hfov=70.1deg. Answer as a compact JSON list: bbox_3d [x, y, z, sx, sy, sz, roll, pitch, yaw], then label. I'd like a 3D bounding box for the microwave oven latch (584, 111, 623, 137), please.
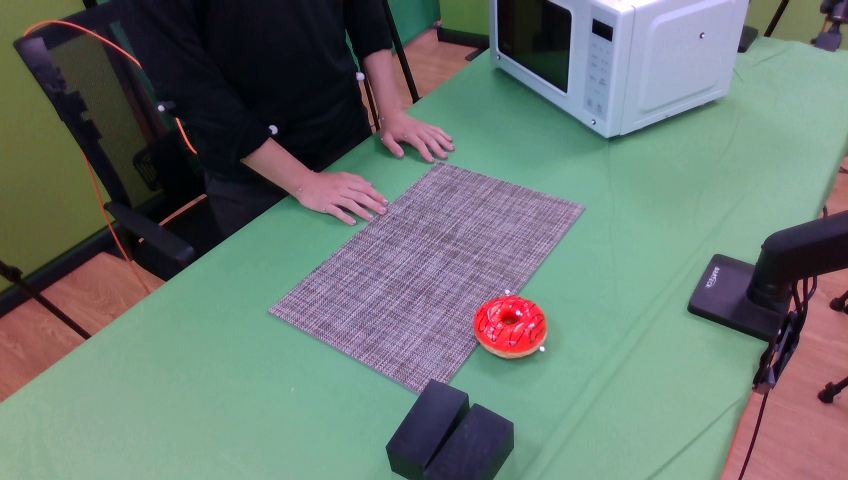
[{"bbox_3d":[0.337,-0.222,1.142,0.030,0.029,0.078,-21,42,-14],"label":"microwave oven latch"}]

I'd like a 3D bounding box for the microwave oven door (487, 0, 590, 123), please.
[{"bbox_3d":[0.232,-0.420,1.231,0.039,0.245,0.352,-22,43,-16],"label":"microwave oven door"}]

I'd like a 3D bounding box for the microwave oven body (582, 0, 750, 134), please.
[{"bbox_3d":[0.382,-0.444,1.246,0.327,0.261,0.437,-22,42,-16],"label":"microwave oven body"}]

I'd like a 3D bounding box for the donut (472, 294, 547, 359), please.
[{"bbox_3d":[0.114,0.114,0.803,0.099,0.048,0.098,0,40,1],"label":"donut"}]
